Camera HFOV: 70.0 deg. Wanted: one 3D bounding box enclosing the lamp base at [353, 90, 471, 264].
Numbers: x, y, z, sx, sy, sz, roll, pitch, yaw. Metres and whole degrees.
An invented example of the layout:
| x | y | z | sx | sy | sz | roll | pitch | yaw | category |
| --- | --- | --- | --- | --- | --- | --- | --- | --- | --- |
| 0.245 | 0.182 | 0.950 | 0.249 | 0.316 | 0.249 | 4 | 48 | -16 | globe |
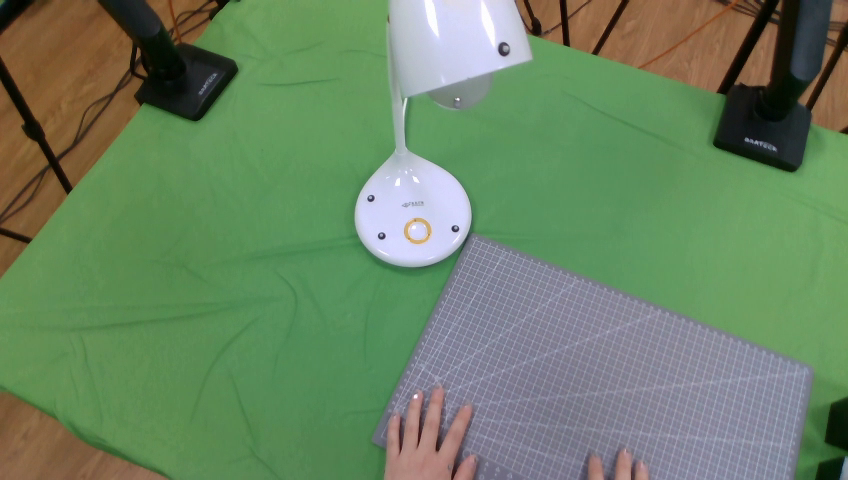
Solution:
| x | y | z | sx | sy | sz | roll | pitch | yaw | category |
| --- | --- | --- | --- | --- | --- | --- | --- | --- | --- |
| -0.022 | -0.086 | 0.759 | 0.161 | 0.182 | 0.177 | -16 | 62 | -7 | lamp base |

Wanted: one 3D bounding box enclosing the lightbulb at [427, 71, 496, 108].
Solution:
| x | y | z | sx | sy | sz | roll | pitch | yaw | category |
| --- | --- | --- | --- | --- | --- | --- | --- | --- | --- |
| 0.025 | -0.161 | 0.486 | 0.059 | 0.059 | 0.108 | -11 | 104 | -4 | lightbulb |

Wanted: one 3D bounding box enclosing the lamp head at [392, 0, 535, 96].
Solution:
| x | y | z | sx | sy | sz | roll | pitch | yaw | category |
| --- | --- | --- | --- | --- | --- | --- | --- | --- | --- |
| 0.021 | -0.186 | 0.486 | 0.112 | 0.112 | 0.123 | -19 | 99 | -8 | lamp head |
